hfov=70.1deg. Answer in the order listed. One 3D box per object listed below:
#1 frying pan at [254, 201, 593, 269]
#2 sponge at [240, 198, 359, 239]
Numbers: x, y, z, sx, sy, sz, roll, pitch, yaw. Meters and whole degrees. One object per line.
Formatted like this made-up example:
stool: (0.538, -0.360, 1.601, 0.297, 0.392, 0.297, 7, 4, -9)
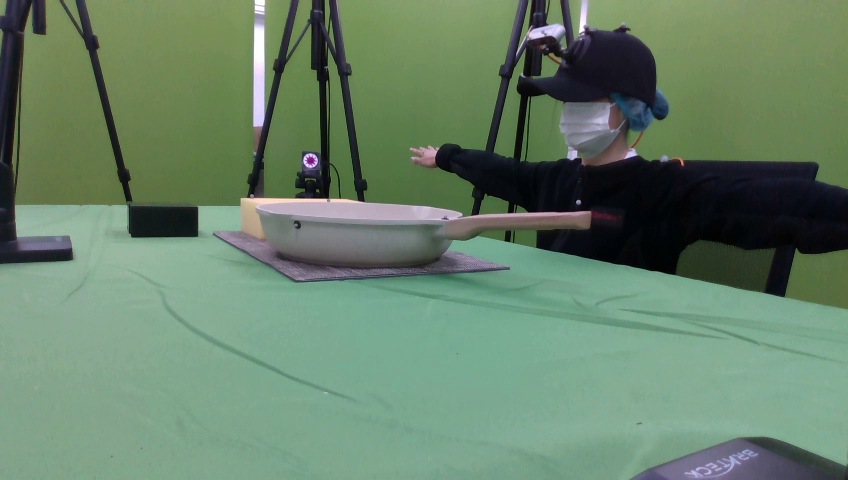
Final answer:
frying pan: (-0.011, -0.017, 0.802, 0.485, 0.102, 0.308, -2, 4, 39)
sponge: (-0.211, -0.040, 1.079, 0.208, 0.061, 0.117, -2, 9, -33)
